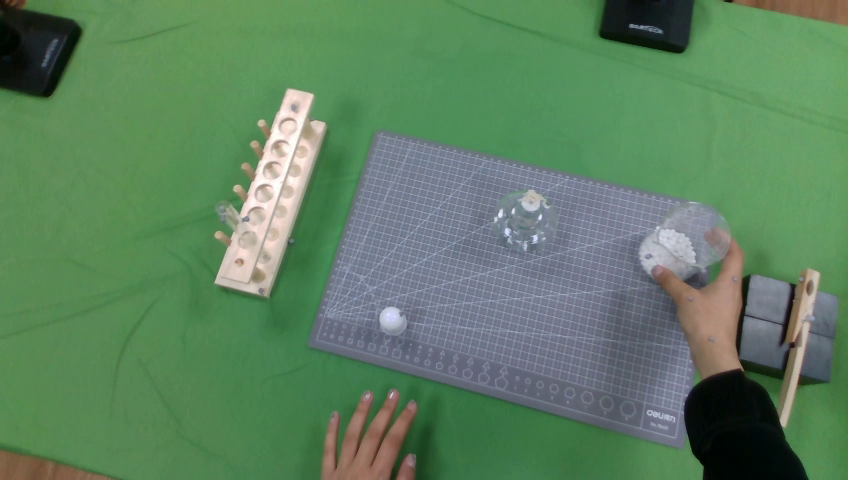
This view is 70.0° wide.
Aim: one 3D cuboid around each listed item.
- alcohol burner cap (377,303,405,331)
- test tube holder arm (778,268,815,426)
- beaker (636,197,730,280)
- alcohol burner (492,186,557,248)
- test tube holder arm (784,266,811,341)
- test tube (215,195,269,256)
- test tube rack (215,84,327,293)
[{"bbox_3d":[-0.040,0.088,0.713,0.034,0.048,0.033,0,75,0],"label":"alcohol burner cap"},{"bbox_3d":[0.409,0.115,0.664,0.013,0.015,0.177,15,76,7],"label":"test tube holder arm"},{"bbox_3d":[0.291,0.004,0.701,0.084,0.101,0.073,-8,73,0],"label":"beaker"},{"bbox_3d":[0.119,-0.032,0.707,0.078,0.120,0.077,-1,74,3],"label":"alcohol burner"},{"bbox_3d":[0.417,0.071,0.675,0.010,0.015,0.087,17,76,8],"label":"test tube holder arm"},{"bbox_3d":[-0.198,-0.012,0.673,0.017,0.151,0.017,-1,69,2],"label":"test tube"},{"bbox_3d":[-0.193,-0.066,0.740,0.066,0.085,0.241,14,75,6],"label":"test tube rack"}]
